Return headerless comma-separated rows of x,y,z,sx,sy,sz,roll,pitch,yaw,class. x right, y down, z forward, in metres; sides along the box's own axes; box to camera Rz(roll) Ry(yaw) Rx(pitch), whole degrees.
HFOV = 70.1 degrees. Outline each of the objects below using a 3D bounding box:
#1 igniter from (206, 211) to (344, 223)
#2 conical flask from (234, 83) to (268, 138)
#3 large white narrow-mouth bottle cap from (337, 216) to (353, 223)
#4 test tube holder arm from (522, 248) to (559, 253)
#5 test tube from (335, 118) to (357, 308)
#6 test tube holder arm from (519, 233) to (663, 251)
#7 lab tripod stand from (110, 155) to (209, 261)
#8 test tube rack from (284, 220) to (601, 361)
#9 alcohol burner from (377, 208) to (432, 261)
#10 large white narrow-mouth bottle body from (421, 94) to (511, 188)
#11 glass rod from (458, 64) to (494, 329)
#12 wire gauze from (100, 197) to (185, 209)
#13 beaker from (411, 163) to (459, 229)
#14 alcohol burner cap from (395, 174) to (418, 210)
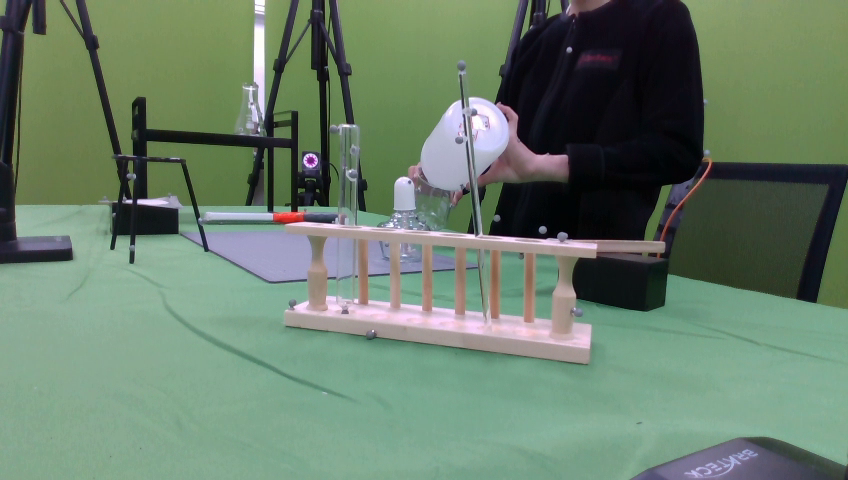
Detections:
-0.302,-0.048,1.249,0.278,0.025,0.057,-2,-2,-27,igniter
-0.400,-0.298,1.396,0.075,0.122,0.075,2,8,0,conical flask
-0.161,-0.036,1.231,0.038,0.024,0.037,2,8,0,large white narrow-mouth bottle cap
0.144,0.005,0.637,0.088,0.015,0.010,-2,21,-20,test tube holder arm
-0.061,-0.019,0.476,0.017,0.150,0.017,2,11,0,test tube
0.185,0.002,0.658,0.179,0.015,0.013,-3,21,-21,test tube holder arm
-0.361,-0.046,0.806,0.148,0.131,0.148,2,5,0,lab tripod stand
0.013,0.032,0.482,0.242,0.085,0.067,4,7,16,test tube rack
-0.027,-0.031,0.838,0.078,0.119,0.078,0,6,0,alcohol burner
0.051,-0.137,0.931,0.102,0.101,0.194,-1,-18,-20,large white narrow-mouth bottle body
0.040,-0.029,0.449,0.008,0.199,0.008,-7,9,1,glass rod
-0.469,-0.062,1.008,0.126,0.011,0.121,-2,8,-25,wire gauze
0.020,-0.074,1.042,0.083,0.100,0.074,31,40,24,beaker
-0.026,-0.067,0.834,0.034,0.048,0.034,-1,12,1,alcohol burner cap
